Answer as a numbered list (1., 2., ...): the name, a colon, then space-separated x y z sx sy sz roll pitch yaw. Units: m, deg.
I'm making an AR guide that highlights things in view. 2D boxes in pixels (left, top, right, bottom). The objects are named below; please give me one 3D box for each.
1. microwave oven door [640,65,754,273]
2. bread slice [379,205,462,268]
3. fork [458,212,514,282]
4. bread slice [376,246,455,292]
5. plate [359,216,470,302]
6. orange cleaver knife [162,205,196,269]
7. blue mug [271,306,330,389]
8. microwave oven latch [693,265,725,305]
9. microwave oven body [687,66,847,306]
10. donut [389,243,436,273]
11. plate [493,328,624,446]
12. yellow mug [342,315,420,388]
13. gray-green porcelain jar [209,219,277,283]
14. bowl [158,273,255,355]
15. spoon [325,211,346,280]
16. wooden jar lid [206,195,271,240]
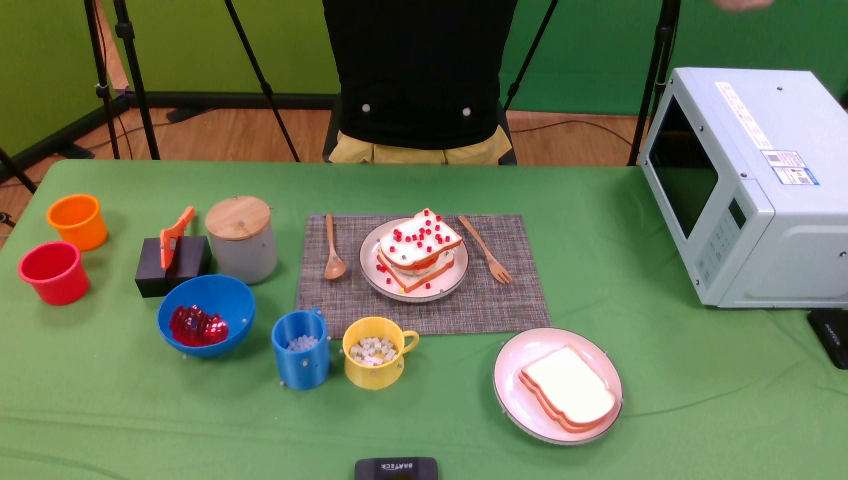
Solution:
1. microwave oven door: 0.523 -0.147 1.193 0.039 0.245 0.353 0 47 -3
2. bread slice: -0.012 -0.001 1.097 0.134 0.018 0.106 -33 51 -23
3. fork: 0.116 0.011 1.189 0.028 0.019 0.206 -21 53 -13
4. bread slice: -0.010 0.033 1.149 0.131 0.019 0.104 -27 55 -25
5. plate: -0.019 0.038 1.140 0.209 0.038 0.208 2 46 -2
6. orange cleaver knife: -0.454 -0.010 1.129 0.012 0.077 0.210 -1 20 -5
7. blue mug: -0.188 0.163 0.969 0.082 0.106 0.116 15 47 10
8. microwave oven latch: 0.523 0.082 1.116 0.030 0.029 0.078 2 46 -1
9. microwave oven body: 0.670 -0.111 1.176 0.326 0.261 0.439 0 46 -3
10. donut: -0.023 0.018 1.120 0.099 0.048 0.098 -10 48 11
11. plate: 0.213 0.236 0.974 0.208 0.039 0.206 2 46 -2
12. yellow mug: -0.068 0.177 0.990 0.131 0.064 0.099 -15 50 -19
13. gray-green porcelain jar: -0.323 0.007 1.092 0.106 0.127 0.105 2 46 -2
14. bowl: -0.351 0.136 1.001 0.151 0.077 0.150 2 46 -2
15. spoon: -0.177 0.006 1.170 0.041 0.022 0.192 -21 48 7
16. wooden jar lid: -0.319 -0.036 1.046 0.108 0.021 0.107 1 44 -1
